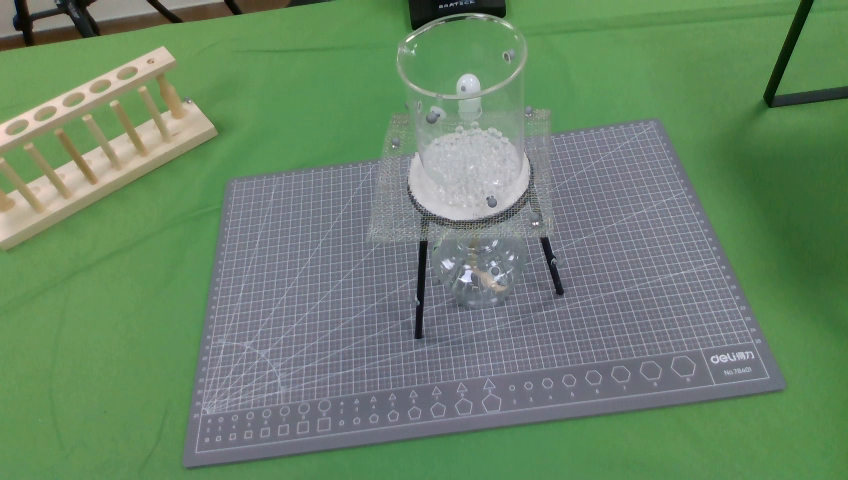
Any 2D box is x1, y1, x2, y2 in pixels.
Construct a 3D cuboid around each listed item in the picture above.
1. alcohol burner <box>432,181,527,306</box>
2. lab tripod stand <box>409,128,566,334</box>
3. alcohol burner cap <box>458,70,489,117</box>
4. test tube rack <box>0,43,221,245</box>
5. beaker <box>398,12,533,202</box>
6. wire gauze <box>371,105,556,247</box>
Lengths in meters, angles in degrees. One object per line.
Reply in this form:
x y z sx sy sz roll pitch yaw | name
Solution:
0.043 -0.001 0.479 0.078 0.120 0.077 -4 51 6 | alcohol burner
0.040 -0.006 0.470 0.148 0.133 0.147 -3 55 5 | lab tripod stand
0.052 -0.159 0.647 0.034 0.048 0.033 -4 53 6 | alcohol burner cap
-0.348 -0.103 0.630 0.242 0.086 0.066 -34 56 -17 | test tube rack
0.026 -0.079 0.383 0.083 0.101 0.074 26 62 25 | beaker
0.029 -0.049 0.422 0.121 0.011 0.124 0 57 10 | wire gauze
